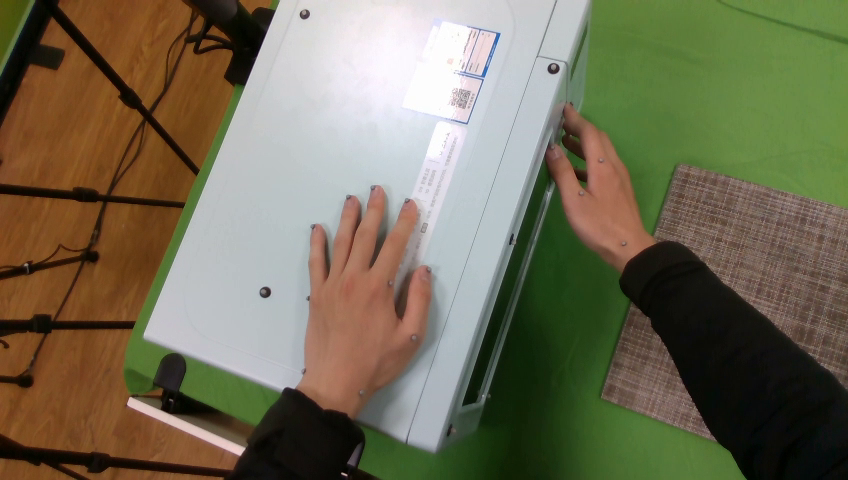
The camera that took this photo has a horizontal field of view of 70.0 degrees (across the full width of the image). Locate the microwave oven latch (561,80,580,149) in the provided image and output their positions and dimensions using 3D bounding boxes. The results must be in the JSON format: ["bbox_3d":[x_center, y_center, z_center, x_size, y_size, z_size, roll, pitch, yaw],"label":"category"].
[{"bbox_3d":[0.171,-0.155,0.752,0.030,0.030,0.079,18,83,15],"label":"microwave oven latch"}]

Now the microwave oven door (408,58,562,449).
[{"bbox_3d":[0.075,0.027,0.628,0.039,0.245,0.355,17,82,15],"label":"microwave oven door"}]

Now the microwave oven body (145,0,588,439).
[{"bbox_3d":[-0.044,-0.052,0.675,0.325,0.262,0.440,17,83,14],"label":"microwave oven body"}]
